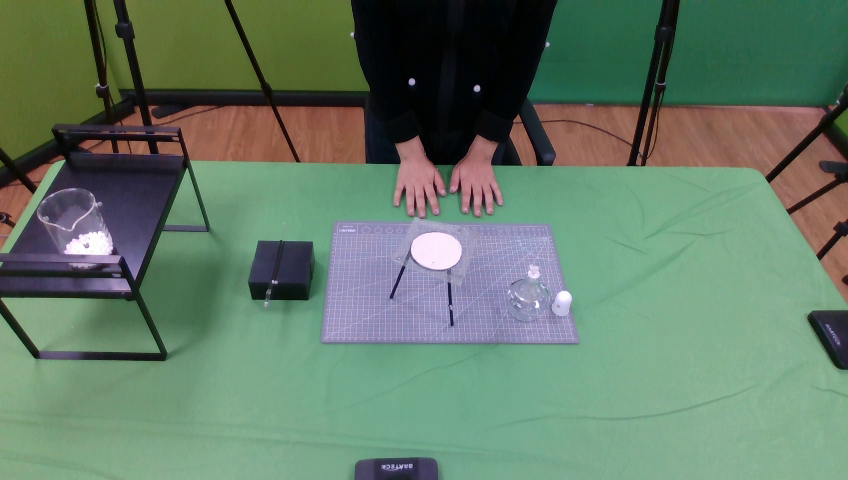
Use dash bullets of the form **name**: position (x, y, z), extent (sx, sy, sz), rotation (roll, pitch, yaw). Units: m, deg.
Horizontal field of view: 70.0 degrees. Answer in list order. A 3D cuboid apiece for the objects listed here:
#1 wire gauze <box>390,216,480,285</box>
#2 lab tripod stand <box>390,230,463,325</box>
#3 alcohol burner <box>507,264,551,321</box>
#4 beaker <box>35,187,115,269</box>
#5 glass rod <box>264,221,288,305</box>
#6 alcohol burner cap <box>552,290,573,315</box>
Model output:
- **wire gauze**: position (0.020, 0.012, 1.009), extent (0.125, 0.011, 0.121), rotation (16, 47, 12)
- **lab tripod stand**: position (0.014, 0.060, 1.056), extent (0.148, 0.132, 0.147), rotation (1, 48, -1)
- **alcohol burner**: position (0.185, 0.086, 1.056), extent (0.078, 0.120, 0.077), rotation (1, 46, -1)
- **beaker**: position (-0.494, -0.012, 0.867), extent (0.074, 0.101, 0.083), rotation (-17, 50, -18)
- **glass rod**: position (-0.263, 0.037, 1.083), extent (0.008, 0.008, 0.198), rotation (3, 46, -1)
- **alcohol burner cap**: position (0.250, 0.109, 1.088), extent (0.034, 0.048, 0.033), rotation (4, 47, -4)
